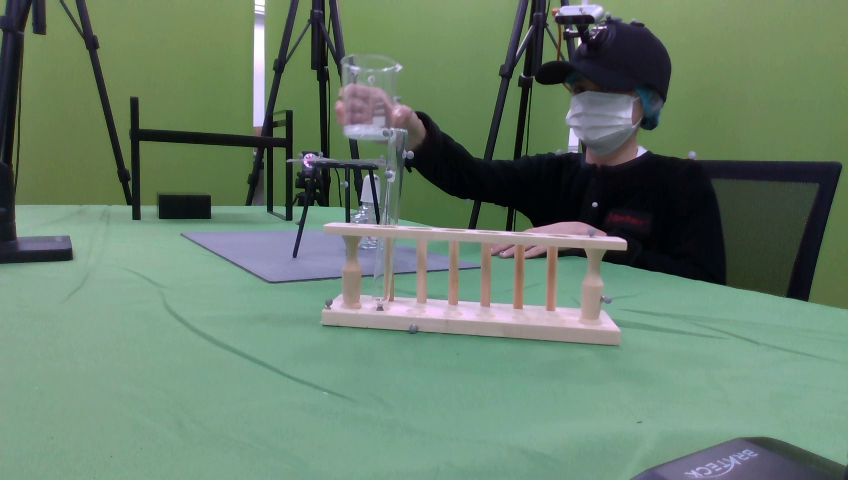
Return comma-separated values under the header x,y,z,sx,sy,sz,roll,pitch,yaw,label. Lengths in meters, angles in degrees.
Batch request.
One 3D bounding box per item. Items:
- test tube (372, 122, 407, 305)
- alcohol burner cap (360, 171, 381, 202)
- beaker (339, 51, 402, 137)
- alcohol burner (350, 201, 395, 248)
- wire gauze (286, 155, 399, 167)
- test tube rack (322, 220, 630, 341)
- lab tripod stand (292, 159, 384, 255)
x,y,z,sx,sy,sz,roll,pitch,yaw,label
-0.029,-0.020,0.493,0.017,0.150,0.017,6,9,-1,test tube
-0.082,-0.084,0.949,0.034,0.048,0.034,9,8,-1,alcohol burner cap
-0.070,-0.189,0.795,0.084,0.100,0.074,2,3,8,beaker
-0.084,-0.048,0.953,0.078,0.119,0.078,0,6,0,alcohol burner
-0.101,-0.105,0.788,0.121,0.011,0.125,4,6,6,wire gauze
0.041,0.029,0.512,0.242,0.085,0.067,3,7,5,test tube rack
-0.105,-0.039,0.797,0.148,0.131,0.148,2,5,0,lab tripod stand
